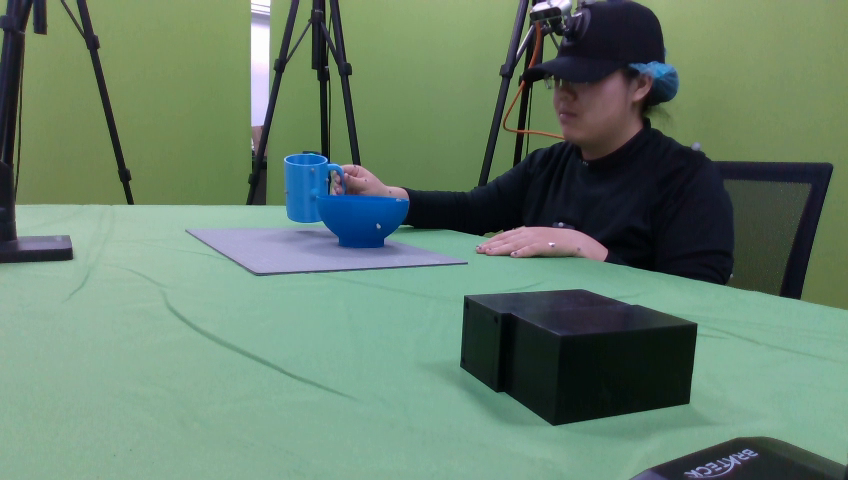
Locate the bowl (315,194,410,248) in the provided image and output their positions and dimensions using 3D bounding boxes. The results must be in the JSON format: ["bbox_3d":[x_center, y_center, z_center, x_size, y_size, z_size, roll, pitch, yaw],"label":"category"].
[{"bbox_3d":[-0.100,-0.030,0.971,0.151,0.077,0.151,2,7,0],"label":"bowl"}]

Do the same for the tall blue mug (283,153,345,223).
[{"bbox_3d":[-0.205,-0.100,1.107,0.077,0.108,0.107,14,25,27],"label":"tall blue mug"}]
